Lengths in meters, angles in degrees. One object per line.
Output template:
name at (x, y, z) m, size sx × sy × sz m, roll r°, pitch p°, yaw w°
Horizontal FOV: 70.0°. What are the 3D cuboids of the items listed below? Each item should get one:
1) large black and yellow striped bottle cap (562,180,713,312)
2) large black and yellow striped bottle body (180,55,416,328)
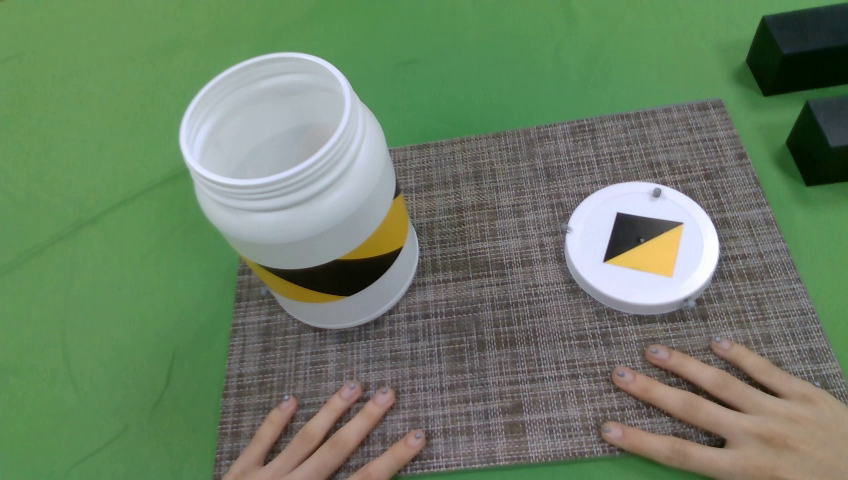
large black and yellow striped bottle cap at (0.169, 0.002, 0.482) m, size 0.115 × 0.019 × 0.114 m, roll -4°, pitch 59°, yaw 7°
large black and yellow striped bottle body at (-0.083, -0.028, 0.444) m, size 0.130 × 0.186 × 0.129 m, roll -4°, pitch 58°, yaw 7°
